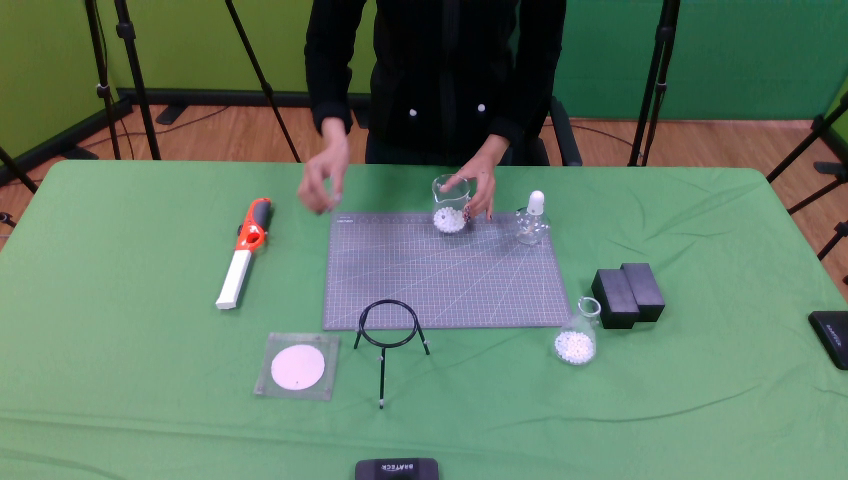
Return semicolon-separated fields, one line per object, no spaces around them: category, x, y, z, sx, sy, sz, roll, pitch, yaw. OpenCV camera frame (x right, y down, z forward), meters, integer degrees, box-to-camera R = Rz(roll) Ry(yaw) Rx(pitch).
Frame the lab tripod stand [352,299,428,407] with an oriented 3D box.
lab tripod stand;-0.056;0.166;0.958;0.148;0.132;0.147;3;44;-2

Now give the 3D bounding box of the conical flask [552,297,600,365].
conical flask;0.261;0.147;1.009;0.075;0.122;0.075;2;46;-2

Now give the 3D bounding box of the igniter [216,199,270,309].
igniter;-0.342;0.016;1.153;0.057;0.025;0.275;-3;45;7

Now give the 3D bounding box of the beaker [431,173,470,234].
beaker;0.048;-0.067;1.186;0.073;0.101;0.084;26;52;22

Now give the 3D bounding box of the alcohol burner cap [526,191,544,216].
alcohol burner cap;0.216;-0.073;1.170;0.034;0.048;0.033;0;42;1

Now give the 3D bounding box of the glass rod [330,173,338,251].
glass rod;-0.158;-0.044;1.061;0.008;0.200;0.008;3;50;-3

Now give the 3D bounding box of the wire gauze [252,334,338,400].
wire gauze;-0.209;0.204;0.996;0.125;0.011;0.120;3;45;1

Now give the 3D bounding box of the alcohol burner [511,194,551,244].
alcohol burner;0.215;-0.048;1.196;0.078;0.119;0.077;4;46;-4
